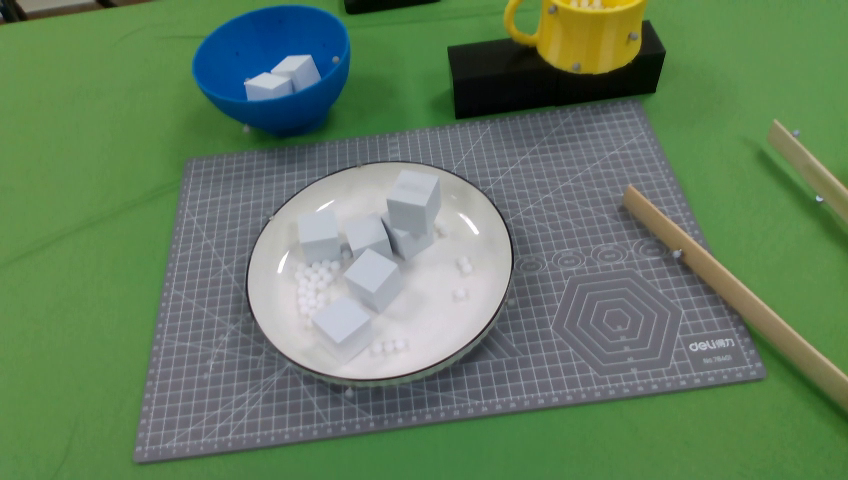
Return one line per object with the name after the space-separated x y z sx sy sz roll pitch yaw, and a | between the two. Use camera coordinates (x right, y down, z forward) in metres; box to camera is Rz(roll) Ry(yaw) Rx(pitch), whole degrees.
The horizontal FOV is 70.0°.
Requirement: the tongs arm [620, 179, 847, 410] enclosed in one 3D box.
0.276 0.081 0.415 0.028 0.028 0.383 -29 58 -19 | tongs arm

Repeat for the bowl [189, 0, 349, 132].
-0.142 -0.161 0.600 0.151 0.077 0.150 -3 54 5 | bowl

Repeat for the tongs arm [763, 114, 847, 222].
0.349 0.048 0.428 0.051 0.027 0.380 -19 57 -9 | tongs arm

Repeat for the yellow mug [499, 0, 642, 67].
0.135 -0.214 0.556 0.131 0.064 0.099 -5 54 3 | yellow mug

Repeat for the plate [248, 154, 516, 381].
-0.032 0.018 0.482 0.207 0.039 0.205 -3 54 4 | plate
